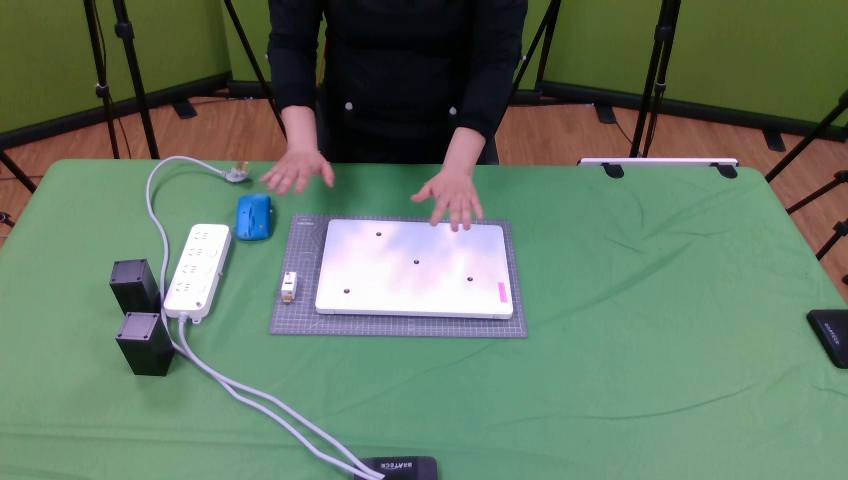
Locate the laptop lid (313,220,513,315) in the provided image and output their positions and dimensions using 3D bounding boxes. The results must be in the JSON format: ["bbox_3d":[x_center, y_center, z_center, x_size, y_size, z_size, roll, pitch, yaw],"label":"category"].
[{"bbox_3d":[-0.017,0.045,1.138,0.357,0.013,0.240,3,43,-1],"label":"laptop lid"}]

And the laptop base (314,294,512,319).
[{"bbox_3d":[-0.018,0.055,1.144,0.354,0.023,0.234,2,42,-2],"label":"laptop base"}]

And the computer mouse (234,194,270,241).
[{"bbox_3d":[-0.341,-0.048,1.208,0.063,0.041,0.116,0,50,-8],"label":"computer mouse"}]

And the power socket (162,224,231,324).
[{"bbox_3d":[-0.411,0.052,1.106,0.072,0.033,0.225,3,46,-3],"label":"power socket"}]

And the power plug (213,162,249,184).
[{"bbox_3d":[-0.409,-0.149,1.285,0.073,0.053,0.035,24,11,-9],"label":"power plug"}]

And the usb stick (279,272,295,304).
[{"bbox_3d":[-0.246,0.088,1.085,0.021,0.027,0.059,5,47,-5],"label":"usb stick"}]
